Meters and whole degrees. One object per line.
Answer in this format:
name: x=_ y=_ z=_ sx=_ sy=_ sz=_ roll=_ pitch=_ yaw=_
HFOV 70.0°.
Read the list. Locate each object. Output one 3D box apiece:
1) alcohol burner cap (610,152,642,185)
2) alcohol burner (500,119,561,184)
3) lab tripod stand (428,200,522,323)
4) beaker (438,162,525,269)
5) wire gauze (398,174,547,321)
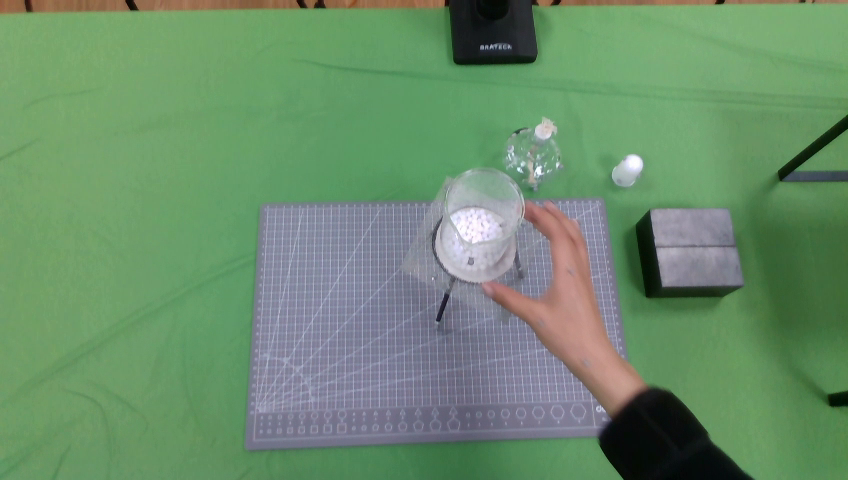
alcohol burner cap: x=0.269 y=-0.097 z=0.799 sx=0.034 sy=0.048 sz=0.033 roll=0 pitch=70 yaw=-1
alcohol burner: x=0.138 y=-0.119 z=0.762 sx=0.078 sy=0.120 sz=0.077 roll=1 pitch=70 yaw=-3
lab tripod stand: x=0.052 y=0.019 z=0.696 sx=0.148 sy=0.132 sz=0.147 roll=1 pitch=69 yaw=-3
beaker: x=0.050 y=-0.016 z=0.588 sx=0.074 sy=0.101 sz=0.083 roll=22 pitch=71 yaw=6
wire gauze: x=0.052 y=0.003 z=0.633 sx=0.125 sy=0.011 sz=0.121 roll=27 pitch=73 yaw=4
